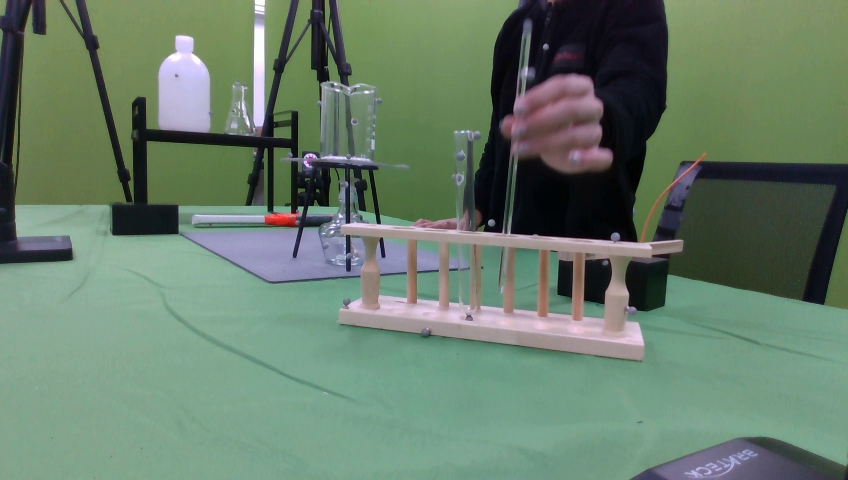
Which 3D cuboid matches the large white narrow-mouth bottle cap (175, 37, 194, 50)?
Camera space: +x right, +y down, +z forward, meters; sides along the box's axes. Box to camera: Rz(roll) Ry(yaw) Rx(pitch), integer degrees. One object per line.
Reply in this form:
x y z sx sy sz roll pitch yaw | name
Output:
-0.501 -0.409 1.264 0.038 0.024 0.037 2 7 0 | large white narrow-mouth bottle cap

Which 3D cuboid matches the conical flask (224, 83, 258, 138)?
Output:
-0.422 -0.299 1.395 0.075 0.122 0.075 2 7 0 | conical flask

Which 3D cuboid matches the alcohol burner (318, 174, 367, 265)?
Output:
-0.100 -0.028 0.790 0.078 0.119 0.078 0 6 0 | alcohol burner

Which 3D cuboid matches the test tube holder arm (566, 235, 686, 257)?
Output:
0.215 0.006 0.630 0.179 0.015 0.013 -3 10 -31 | test tube holder arm

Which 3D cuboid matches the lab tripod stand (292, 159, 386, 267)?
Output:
-0.105 -0.039 0.798 0.148 0.131 0.148 2 5 0 | lab tripod stand

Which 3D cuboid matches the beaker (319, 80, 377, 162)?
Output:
-0.098 -0.150 0.777 0.074 0.100 0.084 1 7 -7 | beaker

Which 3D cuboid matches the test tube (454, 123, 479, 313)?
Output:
0.034 -0.016 0.477 0.017 0.150 0.017 -2 9 1 | test tube

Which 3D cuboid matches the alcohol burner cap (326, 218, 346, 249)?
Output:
-0.133 -0.010 0.927 0.034 0.048 0.034 6 7 0 | alcohol burner cap

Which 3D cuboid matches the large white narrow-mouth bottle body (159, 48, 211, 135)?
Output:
-0.503 -0.322 1.275 0.102 0.194 0.102 2 7 0 | large white narrow-mouth bottle body

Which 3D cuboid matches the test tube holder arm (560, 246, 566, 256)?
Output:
0.173 0.007 0.612 0.088 0.015 0.010 -3 10 -30 | test tube holder arm

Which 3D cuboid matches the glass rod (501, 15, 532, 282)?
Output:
0.069 -0.062 0.452 0.008 0.199 0.008 2 17 0 | glass rod

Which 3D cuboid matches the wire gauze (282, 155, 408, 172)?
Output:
-0.104 -0.103 0.785 0.126 0.011 0.121 1 8 -39 | wire gauze

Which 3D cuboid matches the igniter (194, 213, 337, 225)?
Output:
-0.306 -0.042 1.196 0.278 0.025 0.057 -2 -2 -31 | igniter

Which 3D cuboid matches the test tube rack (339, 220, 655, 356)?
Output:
0.056 0.032 0.495 0.242 0.085 0.067 4 7 15 | test tube rack
